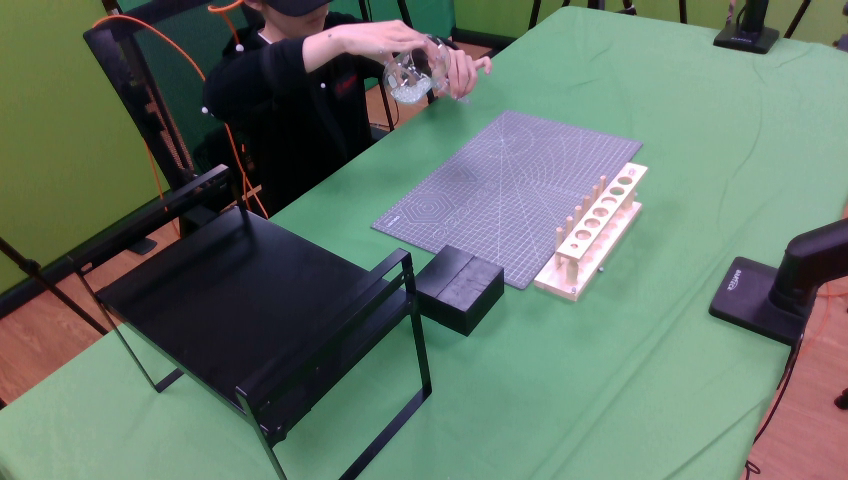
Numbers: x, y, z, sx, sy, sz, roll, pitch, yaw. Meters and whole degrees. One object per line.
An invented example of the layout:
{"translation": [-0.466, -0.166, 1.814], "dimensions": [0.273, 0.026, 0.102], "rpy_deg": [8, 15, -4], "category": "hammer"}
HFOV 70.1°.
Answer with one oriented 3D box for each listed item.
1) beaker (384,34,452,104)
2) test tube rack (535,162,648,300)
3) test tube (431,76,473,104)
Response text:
{"translation": [-0.010, -0.261, 0.940], "dimensions": [0.073, 0.084, 0.100], "rpy_deg": [10, 43, 28], "category": "beaker"}
{"translation": [0.257, -0.024, 0.916], "dimensions": [0.066, 0.085, 0.243], "rpy_deg": [22, 49, 30], "category": "test tube rack"}
{"translation": [0.052, -0.261, 1.059], "dimensions": [0.017, 0.017, 0.151], "rpy_deg": [18, 7, 27], "category": "test tube"}
